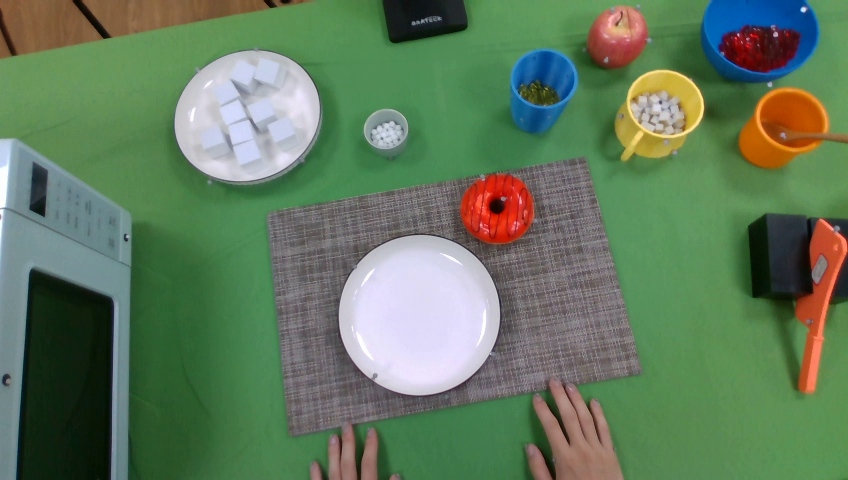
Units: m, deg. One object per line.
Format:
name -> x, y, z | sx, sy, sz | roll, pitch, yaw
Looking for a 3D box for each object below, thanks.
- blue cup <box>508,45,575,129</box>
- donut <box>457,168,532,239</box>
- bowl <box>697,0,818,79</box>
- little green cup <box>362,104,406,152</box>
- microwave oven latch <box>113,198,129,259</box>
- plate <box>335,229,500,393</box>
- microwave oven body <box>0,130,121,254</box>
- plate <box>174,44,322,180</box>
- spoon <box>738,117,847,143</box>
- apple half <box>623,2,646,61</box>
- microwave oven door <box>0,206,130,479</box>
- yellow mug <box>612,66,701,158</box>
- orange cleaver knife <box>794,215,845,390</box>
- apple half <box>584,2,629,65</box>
blue cup -> 0.151, -0.198, 0.818 | 0.092, 0.100, 0.092 | 0, 76, 2
donut -> 0.093, -0.048, 0.805 | 0.099, 0.048, 0.098 | -1, 77, 3
bowl -> 0.445, -0.280, 0.838 | 0.151, 0.077, 0.150 | -1, 75, 3
little green cup -> -0.054, -0.154, 0.847 | 0.061, 0.039, 0.061 | -1, 74, 3
microwave oven latch -> -0.411, -0.015, 0.806 | 0.030, 0.029, 0.078 | -6, 75, 1
plate -> -0.008, 0.089, 0.775 | 0.209, 0.038, 0.208 | -1, 75, 3
microwave oven body -> -0.543, 0.146, 0.669 | 0.326, 0.261, 0.439 | -7, 75, 0
plate -> -0.246, -0.179, 0.863 | 0.207, 0.039, 0.206 | -1, 75, 3
spoon -> 0.490, -0.133, 0.759 | 0.041, 0.192, 0.022 | -51, 122, -10
apple half -> 0.292, -0.291, 0.849 | 0.033, 0.082, 0.081 | -5, 74, 5
microwave oven door -> -0.394, 0.167, 0.651 | 0.039, 0.245, 0.353 | -7, 74, 1
yellow mug -> 0.304, -0.163, 0.819 | 0.099, 0.064, 0.130 | 37, 81, 12
orange cleaver knife -> 0.471, 0.077, 0.737 | 0.012, 0.077, 0.212 | 4, 104, 6
apple half -> 0.253, -0.287, 0.852 | 0.053, 0.075, 0.080 | -5, 78, 5
